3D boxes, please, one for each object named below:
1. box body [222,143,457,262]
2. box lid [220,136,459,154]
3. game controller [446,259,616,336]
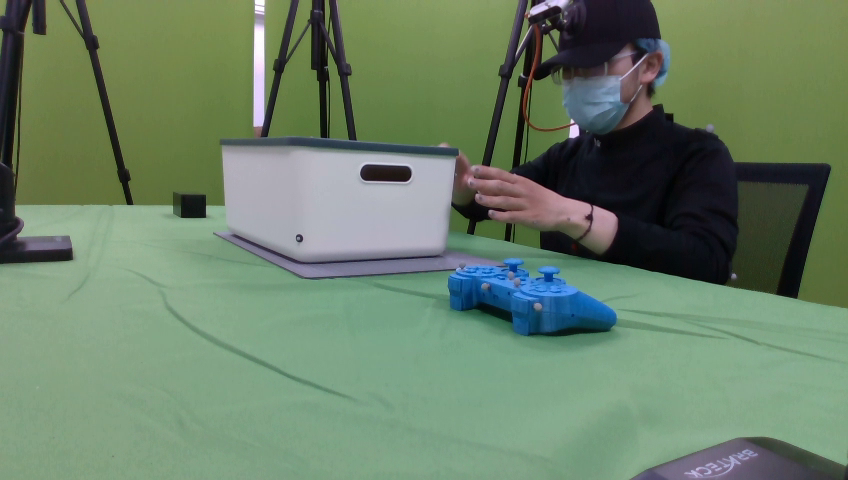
[{"bbox_3d":[-0.148,-0.073,0.956,0.255,0.160,0.362,-3,9,-33],"label":"box body"},{"bbox_3d":[-0.144,-0.145,0.944,0.265,0.015,0.369,-2,9,-33],"label":"box lid"},{"bbox_3d":[0.091,0.048,0.562,0.097,0.051,0.154,-7,10,-32],"label":"game controller"}]
